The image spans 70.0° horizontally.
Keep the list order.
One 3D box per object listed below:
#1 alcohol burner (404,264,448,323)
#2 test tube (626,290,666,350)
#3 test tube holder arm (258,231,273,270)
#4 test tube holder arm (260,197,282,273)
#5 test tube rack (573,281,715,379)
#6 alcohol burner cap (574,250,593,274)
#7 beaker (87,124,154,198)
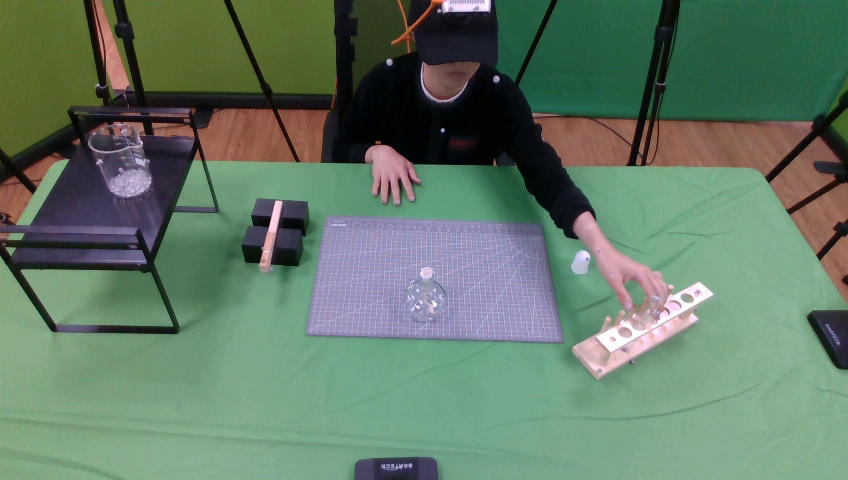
[{"bbox_3d":[0.003,0.087,1.042,0.078,0.120,0.077,1,45,0],"label":"alcohol burner"},{"bbox_3d":[0.355,0.132,0.975,0.017,0.151,0.017,3,46,-3],"label":"test tube"},{"bbox_3d":[-0.282,0.018,1.086,0.015,0.010,0.087,-4,47,4],"label":"test tube holder arm"},{"bbox_3d":[-0.282,-0.012,1.120,0.015,0.013,0.177,-4,49,4],"label":"test tube holder arm"},{"bbox_3d":[0.378,0.140,1.038,0.242,0.085,0.066,-22,51,-23],"label":"test tube rack"},{"bbox_3d":[0.308,0.039,1.163,0.034,0.048,0.033,2,47,-2],"label":"alcohol burner cap"},{"bbox_3d":[-0.482,-0.124,0.978,0.084,0.101,0.073,9,46,4],"label":"beaker"}]
